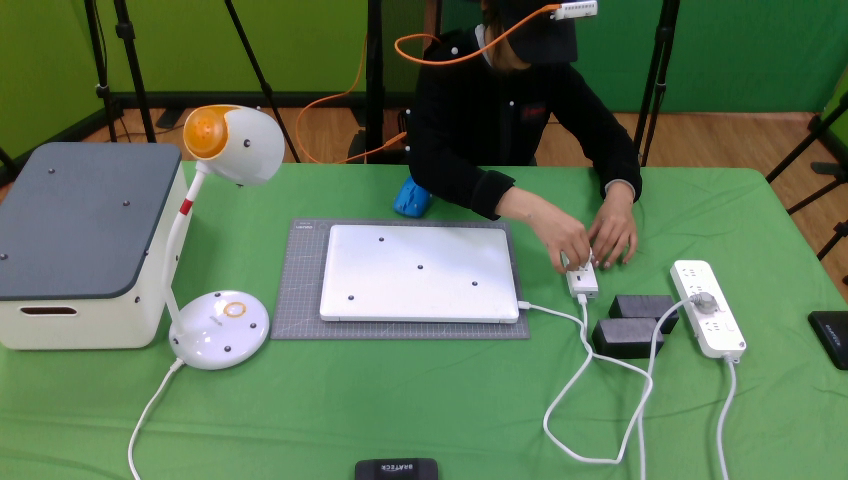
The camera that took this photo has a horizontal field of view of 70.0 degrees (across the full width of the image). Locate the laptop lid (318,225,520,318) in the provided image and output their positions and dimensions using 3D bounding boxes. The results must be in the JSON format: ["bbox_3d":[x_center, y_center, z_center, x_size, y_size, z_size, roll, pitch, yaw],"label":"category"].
[{"bbox_3d":[-0.009,0.053,1.131,0.357,0.013,0.240,2,44,-2],"label":"laptop lid"}]

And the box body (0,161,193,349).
[{"bbox_3d":[-0.570,0.006,1.054,0.254,0.161,0.361,-1,46,-4],"label":"box body"}]

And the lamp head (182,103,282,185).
[{"bbox_3d":[-0.271,-0.133,0.825,0.112,0.112,0.123,20,8,15],"label":"lamp head"}]

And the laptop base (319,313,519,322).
[{"bbox_3d":[-0.009,0.063,1.137,0.354,0.023,0.234,1,43,-3],"label":"laptop base"}]

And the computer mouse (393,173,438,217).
[{"bbox_3d":[-0.018,-0.098,1.282,0.062,0.041,0.117,20,52,13],"label":"computer mouse"}]

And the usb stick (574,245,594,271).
[{"bbox_3d":[0.296,0.038,1.131,0.027,0.059,0.021,3,41,-5],"label":"usb stick"}]

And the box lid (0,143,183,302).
[{"bbox_3d":[-0.567,-0.045,0.999,0.263,0.015,0.369,-1,46,-4],"label":"box lid"}]

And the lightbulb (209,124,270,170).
[{"bbox_3d":[-0.260,-0.135,0.847,0.059,0.108,0.059,-4,79,20],"label":"lightbulb"}]

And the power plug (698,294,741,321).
[{"bbox_3d":[0.515,0.127,1.070,0.035,0.053,0.072,-18,56,-7],"label":"power plug"}]

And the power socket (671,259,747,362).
[{"bbox_3d":[0.516,0.119,1.108,0.072,0.033,0.225,0,46,-2],"label":"power socket"}]

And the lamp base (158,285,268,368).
[{"bbox_3d":[-0.348,0.102,0.963,0.160,0.181,0.178,23,51,18],"label":"lamp base"}]

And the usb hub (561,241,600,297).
[{"bbox_3d":[0.300,0.055,1.162,0.049,0.025,0.124,3,46,-3],"label":"usb hub"}]
